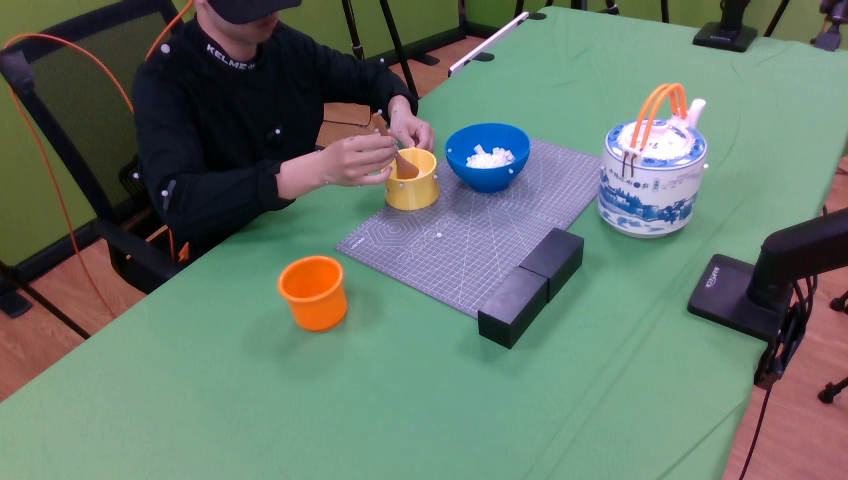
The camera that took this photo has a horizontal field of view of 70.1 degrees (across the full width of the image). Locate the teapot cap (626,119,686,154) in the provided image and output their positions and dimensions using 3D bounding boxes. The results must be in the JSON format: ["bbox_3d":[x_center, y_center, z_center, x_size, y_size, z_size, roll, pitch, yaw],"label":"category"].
[{"bbox_3d":[0.338,-0.153,0.882,0.085,0.044,0.085,-3,38,3],"label":"teapot cap"}]

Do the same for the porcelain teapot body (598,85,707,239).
[{"bbox_3d":[0.362,-0.137,0.921,0.144,0.226,0.206,29,51,36],"label":"porcelain teapot body"}]

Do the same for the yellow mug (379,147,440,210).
[{"bbox_3d":[-0.023,-0.118,1.071,0.100,0.064,0.130,-1,41,7],"label":"yellow mug"}]

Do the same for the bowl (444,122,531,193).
[{"bbox_3d":[0.113,-0.136,1.063,0.151,0.077,0.150,-4,41,4],"label":"bowl"}]

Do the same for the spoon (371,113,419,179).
[{"bbox_3d":[-0.049,-0.145,0.971,0.041,0.195,0.021,-27,57,5],"label":"spoon"}]
